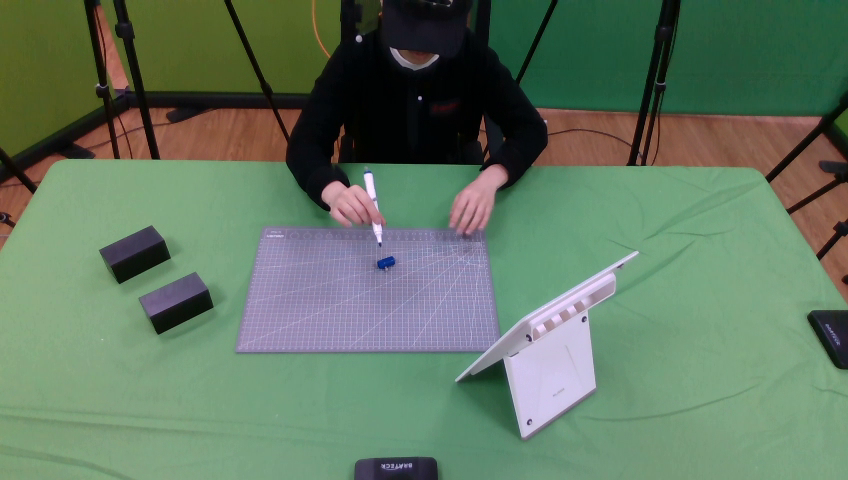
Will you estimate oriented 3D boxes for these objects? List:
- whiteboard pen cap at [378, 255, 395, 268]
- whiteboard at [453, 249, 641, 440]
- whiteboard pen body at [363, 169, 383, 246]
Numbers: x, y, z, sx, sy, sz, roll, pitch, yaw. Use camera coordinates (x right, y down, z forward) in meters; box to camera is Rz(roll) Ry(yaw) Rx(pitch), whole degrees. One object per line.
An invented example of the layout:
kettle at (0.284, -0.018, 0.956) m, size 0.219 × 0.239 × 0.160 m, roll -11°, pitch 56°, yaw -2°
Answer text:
whiteboard pen cap at (-0.072, 0.041, 1.149) m, size 0.033 × 0.018 × 0.018 m, roll -19°, pitch 50°, yaw -17°
whiteboard at (0.206, 0.174, 0.890) m, size 0.217 × 0.306 × 0.143 m, roll -25°, pitch 72°, yaw -25°
whiteboard pen body at (-0.088, -0.056, 1.061) m, size 0.017 × 0.017 × 0.140 m, roll -9°, pitch 79°, yaw -12°
